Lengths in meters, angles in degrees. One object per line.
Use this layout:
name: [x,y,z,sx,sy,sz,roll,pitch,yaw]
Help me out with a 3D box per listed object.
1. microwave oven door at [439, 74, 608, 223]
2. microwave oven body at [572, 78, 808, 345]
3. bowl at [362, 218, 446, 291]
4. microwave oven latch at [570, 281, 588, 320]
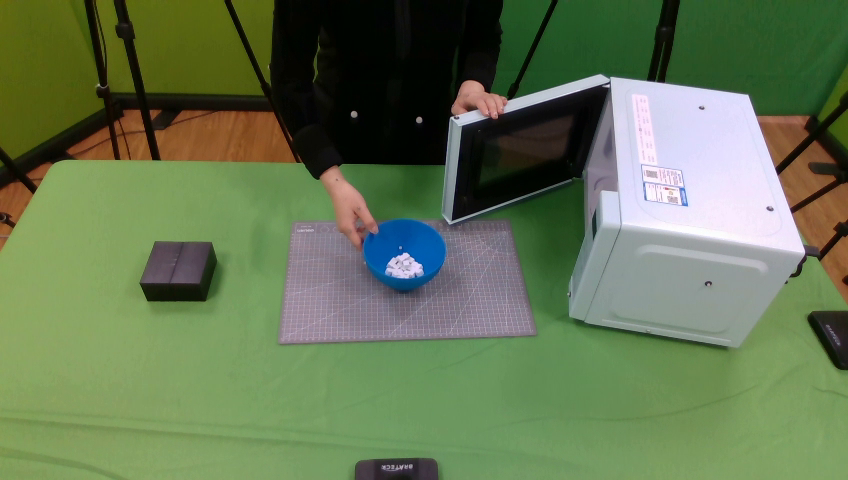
microwave oven door: [0.199,-0.185,1.215,0.356,0.245,0.039,-20,51,-22]
microwave oven body: [0.455,-0.063,1.125,0.326,0.261,0.439,8,45,5]
bowl: [-0.038,0.039,1.102,0.151,0.077,0.150,3,46,-3]
microwave oven latch: [0.275,0.105,1.082,0.030,0.029,0.079,9,45,6]
